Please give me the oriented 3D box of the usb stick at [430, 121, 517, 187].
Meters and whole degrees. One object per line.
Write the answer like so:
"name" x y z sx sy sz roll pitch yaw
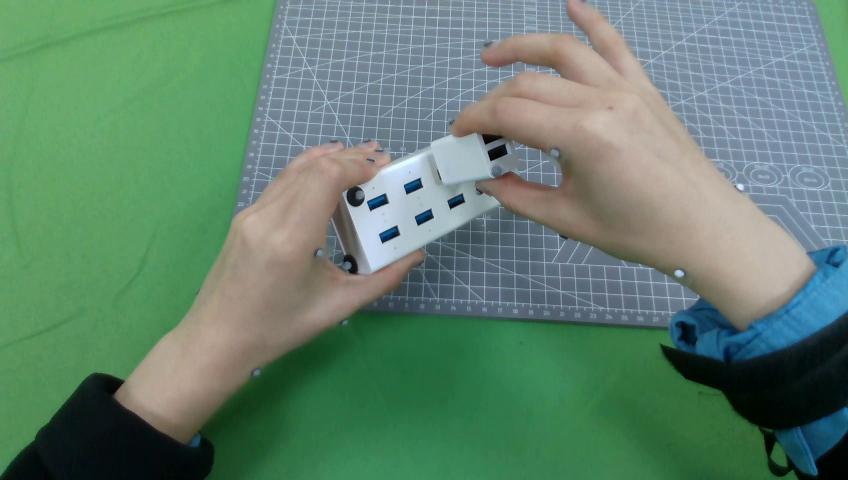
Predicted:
"usb stick" 0.021 -0.044 0.321 0.021 0.059 0.027 -25 99 -28

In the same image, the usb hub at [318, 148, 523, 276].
"usb hub" 0.003 -0.027 0.349 0.125 0.025 0.050 -27 103 -34
